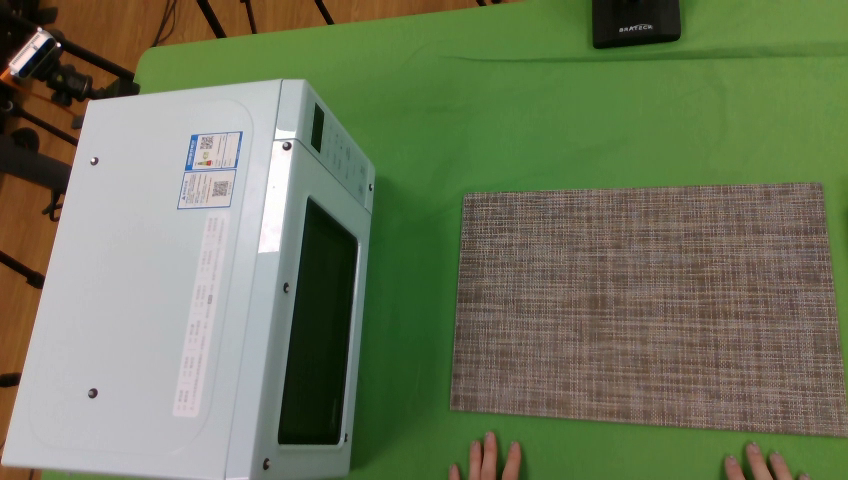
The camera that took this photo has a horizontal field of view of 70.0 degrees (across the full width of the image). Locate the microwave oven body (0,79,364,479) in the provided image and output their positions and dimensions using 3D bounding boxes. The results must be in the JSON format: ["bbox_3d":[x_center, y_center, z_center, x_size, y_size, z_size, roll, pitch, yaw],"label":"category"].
[{"bbox_3d":[-0.273,0.064,0.771,0.325,0.262,0.439,-2,73,15],"label":"microwave oven body"}]

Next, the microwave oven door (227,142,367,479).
[{"bbox_3d":[-0.135,0.097,0.717,0.039,0.246,0.353,-2,72,15],"label":"microwave oven door"}]

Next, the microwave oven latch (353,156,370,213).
[{"bbox_3d":[-0.096,-0.080,0.874,0.030,0.030,0.078,-1,73,15],"label":"microwave oven latch"}]
